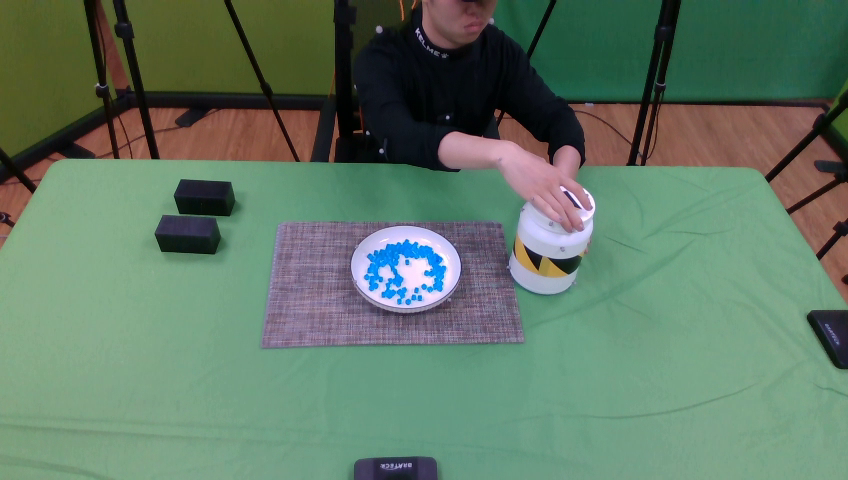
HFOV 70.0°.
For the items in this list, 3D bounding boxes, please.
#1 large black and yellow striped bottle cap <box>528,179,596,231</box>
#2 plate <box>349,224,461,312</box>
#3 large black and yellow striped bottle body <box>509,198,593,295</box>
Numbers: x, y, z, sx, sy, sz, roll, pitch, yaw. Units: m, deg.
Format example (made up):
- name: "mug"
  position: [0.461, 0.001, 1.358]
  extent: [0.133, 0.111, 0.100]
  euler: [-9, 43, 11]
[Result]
- name: "large black and yellow striped bottle cap"
  position: [0.238, -0.062, 1.044]
  extent: [0.115, 0.019, 0.114]
  euler: [1, 47, -1]
- name: "plate"
  position: [-0.035, 0.054, 1.126]
  extent: [0.208, 0.039, 0.206]
  euler: [2, 46, -2]
- name: "large black and yellow striped bottle body"
  position: [0.232, -0.004, 1.105]
  extent: [0.131, 0.185, 0.130]
  euler: [2, 46, -2]
